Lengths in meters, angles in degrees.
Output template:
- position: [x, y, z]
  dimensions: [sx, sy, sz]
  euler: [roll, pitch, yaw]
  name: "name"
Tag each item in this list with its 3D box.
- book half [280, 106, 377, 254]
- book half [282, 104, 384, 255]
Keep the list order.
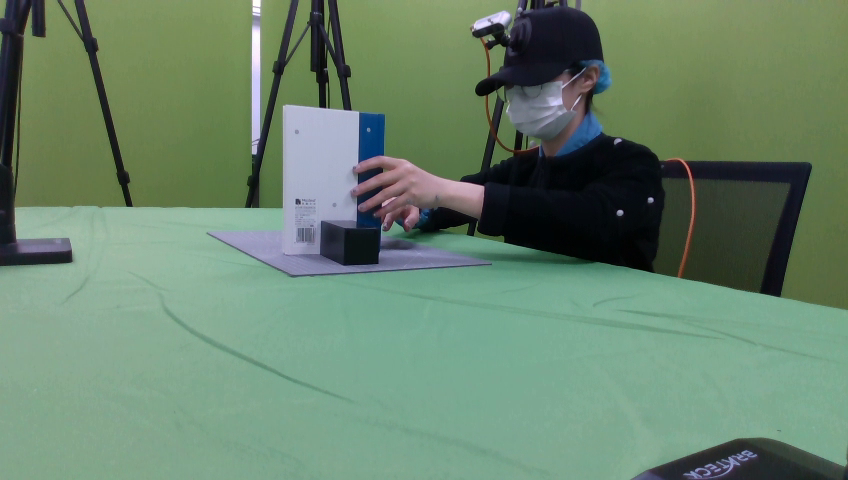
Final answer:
- position: [-0.137, -0.085, 0.886]
  dimensions: [0.144, 0.210, 0.007]
  euler: [-1, 8, -26]
  name: "book half"
- position: [-0.132, -0.084, 0.881]
  dimensions: [0.149, 0.210, 0.016]
  euler: [-1, 8, -27]
  name: "book half"
